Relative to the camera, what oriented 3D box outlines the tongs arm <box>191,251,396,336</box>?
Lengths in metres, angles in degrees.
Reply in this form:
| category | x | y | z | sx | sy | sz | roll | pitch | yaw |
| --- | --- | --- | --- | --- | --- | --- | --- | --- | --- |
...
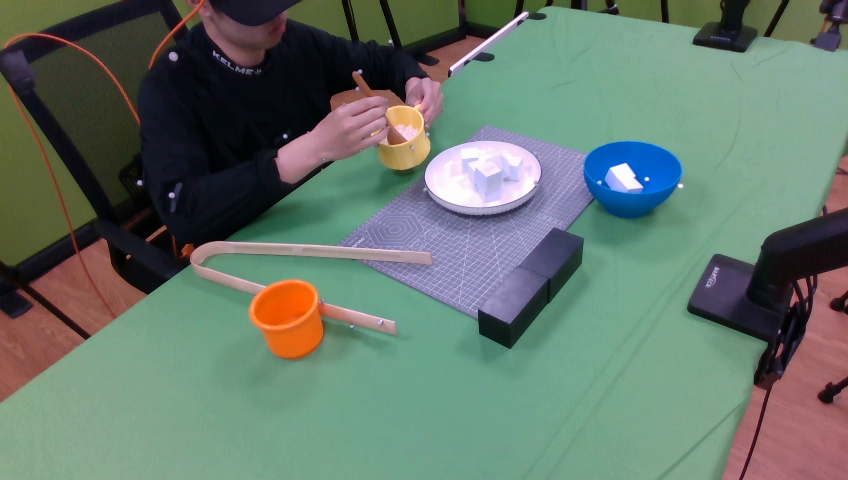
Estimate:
| category | x | y | z | sx | sy | sz | roll | pitch | yaw |
| --- | --- | --- | --- | --- | --- | --- | --- | --- | --- |
| tongs arm | -0.204 | 0.075 | 0.902 | 0.382 | 0.026 | 0.051 | 11 | 44 | 22 |

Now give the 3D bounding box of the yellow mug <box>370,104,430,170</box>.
| category | x | y | z | sx | sy | sz | roll | pitch | yaw |
| --- | --- | --- | --- | --- | --- | --- | --- | --- | --- |
| yellow mug | -0.034 | -0.198 | 1.107 | 0.099 | 0.064 | 0.131 | 27 | 66 | 26 |

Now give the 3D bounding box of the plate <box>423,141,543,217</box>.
| category | x | y | z | sx | sy | sz | roll | pitch | yaw |
| --- | --- | --- | --- | --- | --- | --- | --- | --- | --- |
| plate | 0.103 | -0.104 | 1.059 | 0.207 | 0.039 | 0.206 | -4 | 40 | 4 |

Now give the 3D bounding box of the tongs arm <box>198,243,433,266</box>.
| category | x | y | z | sx | sy | sz | roll | pitch | yaw |
| --- | --- | --- | --- | --- | --- | --- | --- | --- | --- |
| tongs arm | -0.176 | 0.025 | 0.961 | 0.386 | 0.028 | 0.028 | 2 | 44 | 12 |

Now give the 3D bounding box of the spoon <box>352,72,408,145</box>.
| category | x | y | z | sx | sy | sz | roll | pitch | yaw |
| --- | --- | --- | --- | --- | --- | --- | --- | --- | --- |
| spoon | -0.072 | -0.211 | 1.021 | 0.041 | 0.195 | 0.021 | -3 | 53 | 28 |

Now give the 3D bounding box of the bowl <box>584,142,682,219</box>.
| category | x | y | z | sx | sy | sz | roll | pitch | yaw |
| --- | --- | --- | --- | --- | --- | --- | --- | --- | --- |
| bowl | 0.333 | -0.087 | 0.980 | 0.151 | 0.077 | 0.150 | -4 | 40 | 4 |
